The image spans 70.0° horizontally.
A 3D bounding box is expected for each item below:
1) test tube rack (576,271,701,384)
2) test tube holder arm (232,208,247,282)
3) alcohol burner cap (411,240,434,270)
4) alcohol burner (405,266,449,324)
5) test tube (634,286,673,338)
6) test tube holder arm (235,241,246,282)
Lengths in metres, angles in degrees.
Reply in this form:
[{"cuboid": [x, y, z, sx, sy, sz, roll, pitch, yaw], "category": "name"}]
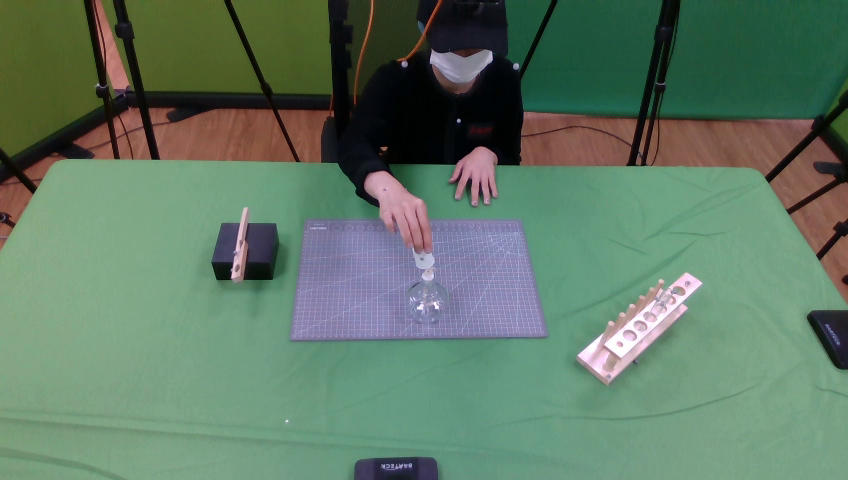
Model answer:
[{"cuboid": [0.373, 0.138, 1.047, 0.242, 0.085, 0.066, -31, 56, -29], "category": "test tube rack"}, {"cuboid": [-0.335, 0.006, 1.102, 0.013, 0.015, 0.177, -9, 46, -3], "category": "test tube holder arm"}, {"cuboid": [-0.005, 0.021, 0.973, 0.034, 0.048, 0.033, -10, 43, 10], "category": "alcohol burner cap"}, {"cuboid": [0.005, 0.089, 1.043, 0.078, 0.120, 0.077, 1, 45, -1], "category": "alcohol burner"}, {"cuboid": [0.374, 0.123, 0.993, 0.017, 0.151, 0.017, 2, 52, -2], "category": "test tube"}, {"cuboid": [-0.323, 0.037, 1.071, 0.010, 0.015, 0.087, -8, 46, -2], "category": "test tube holder arm"}]
